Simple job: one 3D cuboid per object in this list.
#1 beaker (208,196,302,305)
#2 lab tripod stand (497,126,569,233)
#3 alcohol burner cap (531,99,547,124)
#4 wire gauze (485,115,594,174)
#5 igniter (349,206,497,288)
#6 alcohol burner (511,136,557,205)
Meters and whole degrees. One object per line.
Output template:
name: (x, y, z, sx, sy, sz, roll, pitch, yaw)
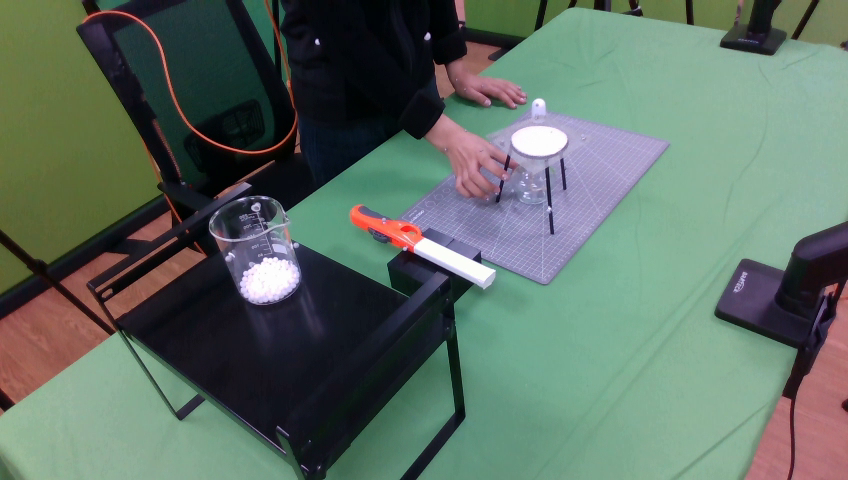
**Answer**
beaker: (-0.173, 0.014, 0.647, 0.084, 0.101, 0.073, -1, 41, 8)
lab tripod stand: (0.189, -0.104, 0.979, 0.148, 0.132, 0.147, -3, 41, 3)
alcohol burner cap: (0.234, -0.264, 1.231, 0.034, 0.048, 0.033, -5, 41, 5)
wire gauze: (0.177, -0.154, 0.935, 0.122, 0.011, 0.124, -26, 45, -21)
igniter: (-0.013, 0.004, 0.897, 0.274, 0.025, 0.057, 25, 44, 32)
alcohol burner: (0.184, -0.120, 1.014, 0.078, 0.119, 0.077, -5, 38, 4)
